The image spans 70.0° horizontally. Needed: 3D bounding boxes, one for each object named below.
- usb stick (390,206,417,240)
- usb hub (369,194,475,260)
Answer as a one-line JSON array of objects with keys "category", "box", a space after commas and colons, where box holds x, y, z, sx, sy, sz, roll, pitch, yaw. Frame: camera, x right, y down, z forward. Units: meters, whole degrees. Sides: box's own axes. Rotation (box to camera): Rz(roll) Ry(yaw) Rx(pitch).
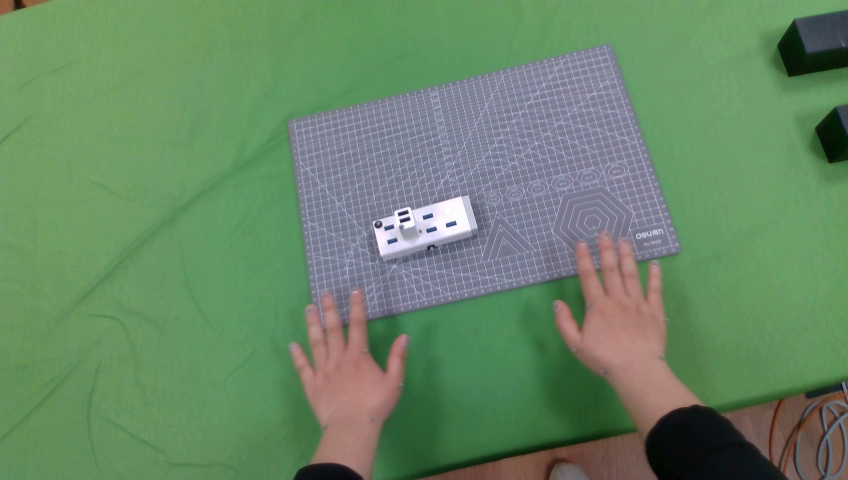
[{"category": "usb stick", "box": [-0.023, -0.018, 0.724, 0.021, 0.059, 0.027, -19, 69, 2]}, {"category": "usb hub", "box": [-0.003, -0.017, 0.752, 0.125, 0.025, 0.049, -16, 70, 2]}]
